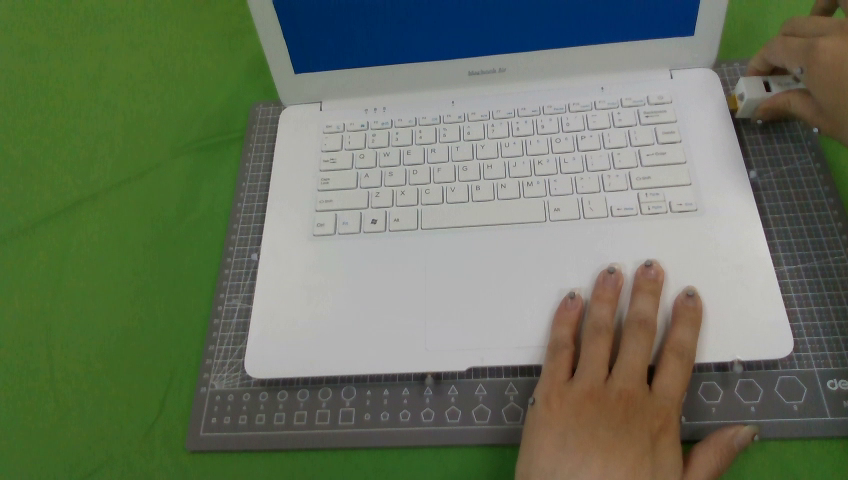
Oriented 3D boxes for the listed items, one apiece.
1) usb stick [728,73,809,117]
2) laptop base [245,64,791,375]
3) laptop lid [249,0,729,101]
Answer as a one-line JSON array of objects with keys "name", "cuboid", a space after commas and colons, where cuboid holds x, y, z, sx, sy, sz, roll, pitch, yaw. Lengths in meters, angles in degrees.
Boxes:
[{"name": "usb stick", "cuboid": [0.248, -0.107, 0.450, 0.059, 0.027, 0.021, -3, 62, 8]}, {"name": "laptop base", "cuboid": [0.053, -0.021, 0.444, 0.354, 0.023, 0.233, -3, 65, 6]}, {"name": "laptop lid", "cuboid": [0.039, -0.209, 0.418, 0.356, 0.244, 0.013, -4, 44, 8]}]
